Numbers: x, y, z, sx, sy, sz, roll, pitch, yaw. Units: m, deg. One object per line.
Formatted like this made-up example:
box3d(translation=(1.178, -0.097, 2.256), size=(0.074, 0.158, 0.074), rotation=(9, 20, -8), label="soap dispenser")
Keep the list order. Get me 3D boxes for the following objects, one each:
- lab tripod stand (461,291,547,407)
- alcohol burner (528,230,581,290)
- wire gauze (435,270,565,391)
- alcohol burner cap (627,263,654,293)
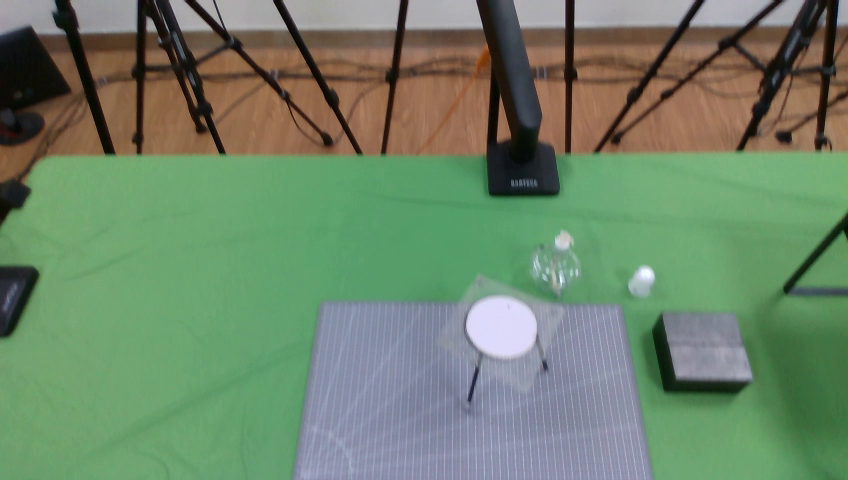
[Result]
box3d(translation=(0.096, 0.135, 0.790), size=(0.148, 0.132, 0.147), rotation=(0, 54, 0), label="lab tripod stand")
box3d(translation=(0.193, 0.021, 0.882), size=(0.078, 0.120, 0.077), rotation=(0, 55, 0), label="alcohol burner")
box3d(translation=(0.093, 0.102, 0.731), size=(0.124, 0.011, 0.121), rotation=(25, 59, 17), label="wire gauze")
box3d(translation=(0.325, 0.054, 0.901), size=(0.034, 0.048, 0.033), rotation=(-1, 55, 2), label="alcohol burner cap")
